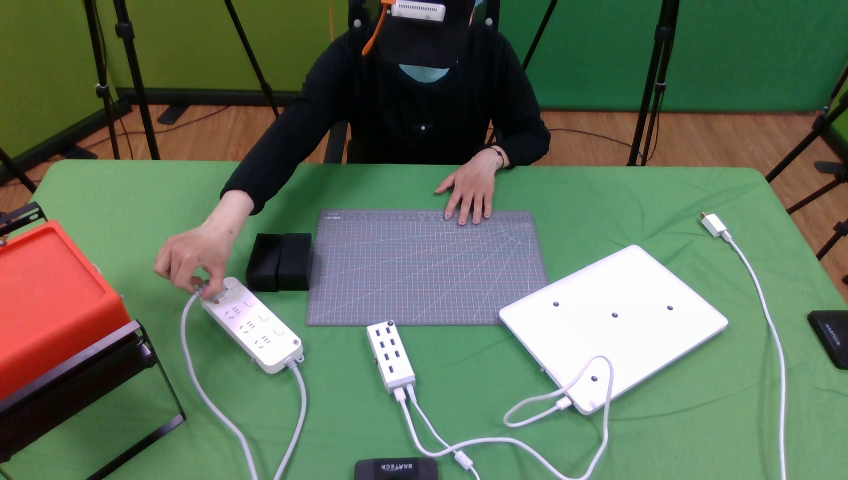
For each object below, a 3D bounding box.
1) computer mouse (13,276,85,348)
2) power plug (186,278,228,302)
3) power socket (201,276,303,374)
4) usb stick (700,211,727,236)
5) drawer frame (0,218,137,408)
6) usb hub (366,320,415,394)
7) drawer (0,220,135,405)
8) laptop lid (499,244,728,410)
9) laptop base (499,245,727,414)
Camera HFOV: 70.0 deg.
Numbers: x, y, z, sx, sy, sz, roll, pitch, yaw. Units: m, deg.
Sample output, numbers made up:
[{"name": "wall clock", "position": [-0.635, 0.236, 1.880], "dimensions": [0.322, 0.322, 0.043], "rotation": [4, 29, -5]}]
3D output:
[{"name": "computer mouse", "position": [-0.497, 0.090, 0.804], "dimensions": [0.063, 0.041, 0.116], "rotation": [-7, 42, -7]}, {"name": "power plug", "position": [-0.369, 0.091, 1.026], "dimensions": [0.072, 0.053, 0.035], "rotation": [-29, 50, -28]}, {"name": "power socket", "position": [-0.297, 0.141, 1.034], "dimensions": [0.225, 0.033, 0.072], "rotation": [37, 55, 27]}, {"name": "usb stick", "position": [0.606, -0.038, 1.273], "dimensions": [0.027, 0.021, 0.059], "rotation": [-18, 56, -20]}, {"name": "drawer frame", "position": [-0.523, 0.094, 0.779], "dimensions": [0.200, 0.083, 0.213], "rotation": [37, 55, 26]}, {"name": "usb hub", "position": [-0.056, 0.192, 1.009], "dimensions": [0.049, 0.025, 0.124], "rotation": [-12, 49, -16]}, {"name": "drawer", "position": [-0.522, 0.093, 0.782], "dimensions": [0.193, 0.073, 0.211], "rotation": [37, 55, 27]}, {"name": "laptop lid", "position": [0.338, 0.136, 1.080], "dimensions": [0.357, 0.013, 0.240], "rotation": [-21, 50, -23]}, {"name": "laptop base", "position": [0.339, 0.146, 1.088], "dimensions": [0.354, 0.023, 0.234], "rotation": [-23, 49, -24]}]
